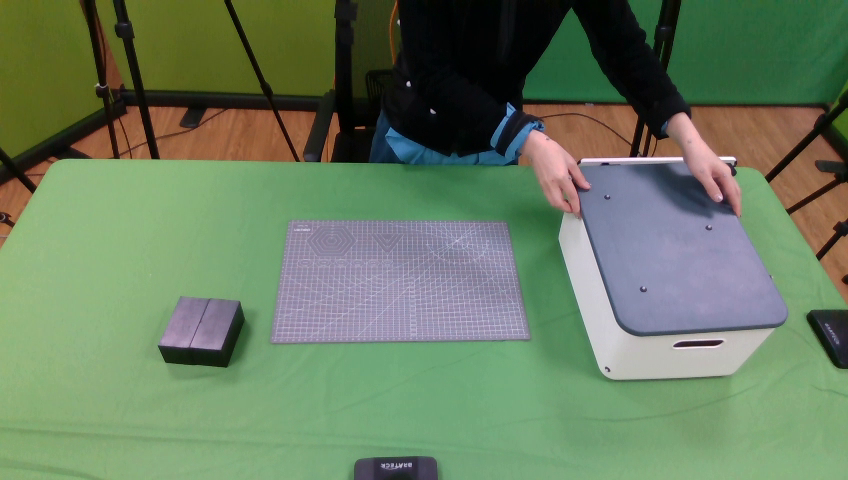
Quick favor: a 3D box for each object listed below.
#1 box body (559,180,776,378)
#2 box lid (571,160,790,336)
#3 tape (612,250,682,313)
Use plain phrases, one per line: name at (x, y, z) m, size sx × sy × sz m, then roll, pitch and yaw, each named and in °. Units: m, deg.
box body at (0.405, 0.057, 1.074) m, size 0.254 × 0.161 × 0.361 m, roll -2°, pitch 46°, yaw -5°
box lid at (0.408, -0.002, 1.008) m, size 0.263 × 0.015 × 0.369 m, roll -3°, pitch 49°, yaw -2°
tape at (0.412, 0.076, 1.123) m, size 0.117 × 0.053 × 0.116 m, roll 4°, pitch 48°, yaw -4°
